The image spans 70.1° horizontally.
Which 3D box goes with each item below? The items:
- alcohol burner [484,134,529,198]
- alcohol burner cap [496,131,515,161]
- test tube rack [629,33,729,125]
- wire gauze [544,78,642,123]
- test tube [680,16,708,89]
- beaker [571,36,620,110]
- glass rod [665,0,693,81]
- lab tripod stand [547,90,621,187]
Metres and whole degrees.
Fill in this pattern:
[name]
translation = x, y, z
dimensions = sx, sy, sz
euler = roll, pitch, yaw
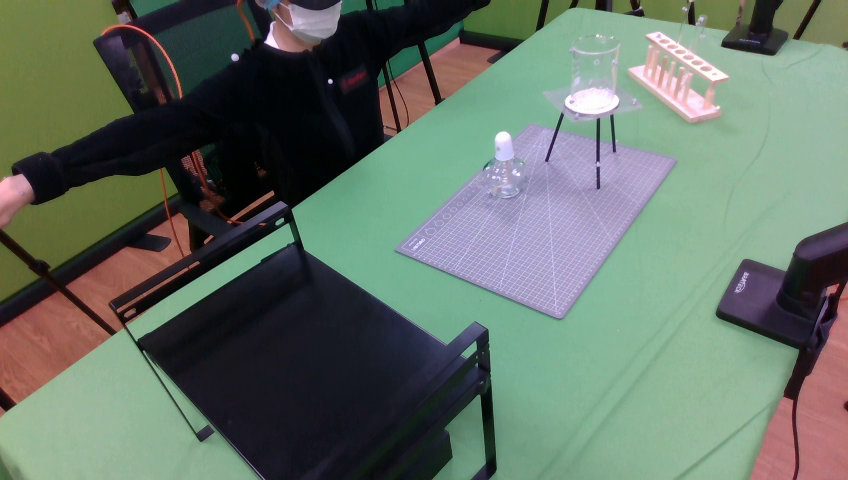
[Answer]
[alcohol burner]
translation = 0.141, -0.133, 1.041
dimensions = 0.078, 0.119, 0.077
euler = -5, 43, 5
[alcohol burner cap]
translation = 0.135, -0.160, 1.019
dimensions = 0.034, 0.048, 0.033
euler = -8, 38, 6
[test tube rack]
translation = 0.516, -0.337, 1.247
dimensions = 0.067, 0.085, 0.240
euler = -14, 41, -7
[wire gauze]
translation = 0.282, -0.234, 1.021
dimensions = 0.125, 0.011, 0.120
euler = -17, 38, -4
[test tube]
translation = 0.534, -0.370, 1.204
dimensions = 0.017, 0.151, 0.017
euler = 1, 42, 0
[beaker]
translation = 0.280, -0.272, 0.990
dimensions = 0.073, 0.101, 0.084
euler = 17, 46, 28
[glass rod]
translation = 0.525, -0.418, 1.239
dimensions = 0.008, 0.200, 0.008
euler = 1, 42, -1
[lab tripod stand]
translation = 0.289, -0.184, 1.062
dimensions = 0.148, 0.132, 0.147
euler = -6, 41, 6
